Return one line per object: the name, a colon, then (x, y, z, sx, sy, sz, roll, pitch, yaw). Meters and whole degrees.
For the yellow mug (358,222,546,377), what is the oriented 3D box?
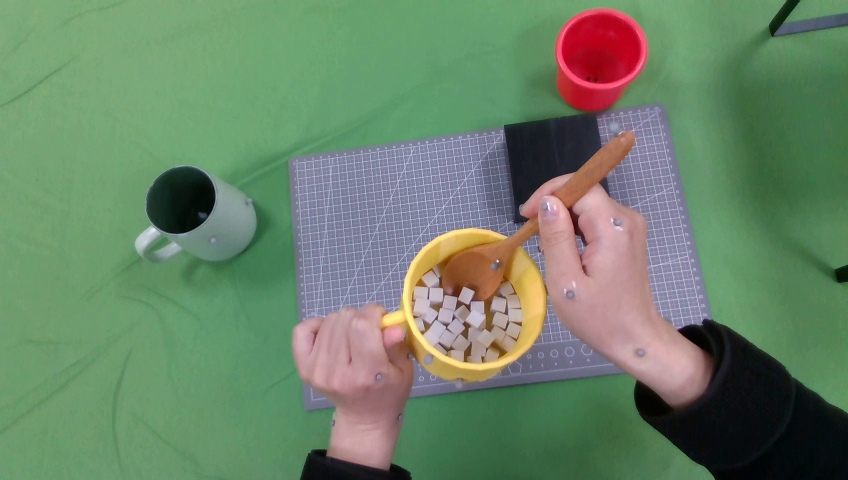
yellow mug: (0.017, 0.049, 0.434, 0.131, 0.064, 0.099, -15, 72, -10)

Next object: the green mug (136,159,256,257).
green mug: (-0.260, -0.025, 0.676, 0.125, 0.105, 0.092, -39, 77, -4)

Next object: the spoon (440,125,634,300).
spoon: (0.067, -0.010, 0.396, 0.041, 0.194, 0.021, 41, 50, -2)
